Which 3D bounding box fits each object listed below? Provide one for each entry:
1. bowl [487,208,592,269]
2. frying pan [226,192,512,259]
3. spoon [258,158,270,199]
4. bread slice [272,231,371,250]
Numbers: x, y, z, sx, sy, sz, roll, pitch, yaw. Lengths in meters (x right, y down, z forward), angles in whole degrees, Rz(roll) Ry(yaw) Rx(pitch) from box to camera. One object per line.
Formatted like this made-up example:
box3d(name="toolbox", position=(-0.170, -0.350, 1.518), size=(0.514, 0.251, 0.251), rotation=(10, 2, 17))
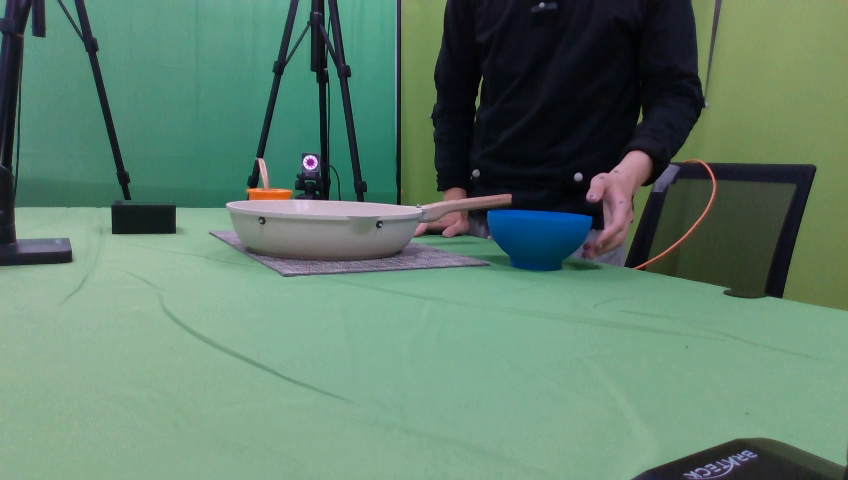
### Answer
box3d(name="bowl", position=(0.163, -0.002, 0.875), size=(0.151, 0.077, 0.151), rotation=(3, 7, 0))
box3d(name="frying pan", position=(-0.058, -0.041, 0.975), size=(0.490, 0.102, 0.305), rotation=(-11, 13, -26))
box3d(name="spoon", position=(-0.332, -0.107, 1.269), size=(0.042, 0.021, 0.193), rotation=(0, 53, -23))
box3d(name="bread slice", position=(-0.148, 0.001, 0.929), size=(0.133, 0.018, 0.107), rotation=(5, 8, 38))
